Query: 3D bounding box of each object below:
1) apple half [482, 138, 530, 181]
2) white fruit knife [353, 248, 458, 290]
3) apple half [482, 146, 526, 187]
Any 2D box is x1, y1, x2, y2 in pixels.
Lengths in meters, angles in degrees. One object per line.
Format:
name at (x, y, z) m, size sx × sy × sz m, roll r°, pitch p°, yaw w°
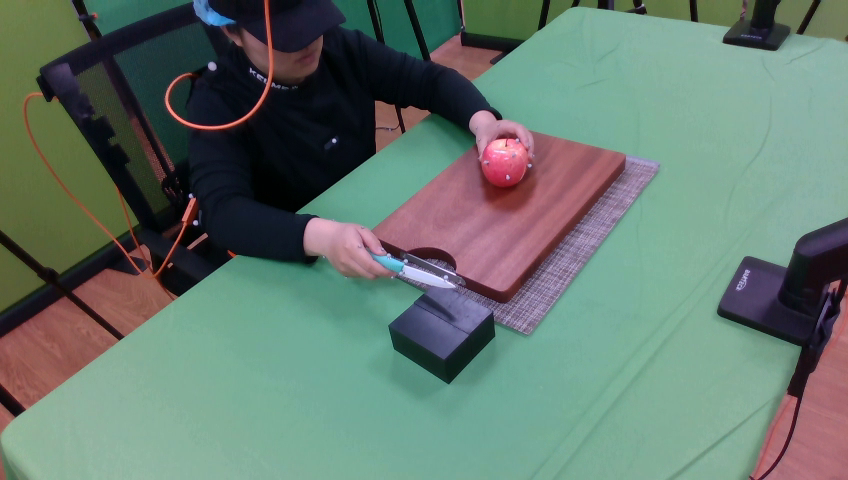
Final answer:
apple half at (0.146, -0.140, 1.041) m, size 0.080 × 0.075 × 0.053 m, roll 7°, pitch 38°, yaw 24°
white fruit knife at (-0.031, 0.041, 0.858) m, size 0.205 × 0.027 × 0.016 m, roll 15°, pitch 43°, yaw 39°
apple half at (0.130, -0.117, 1.014) m, size 0.081 × 0.081 × 0.033 m, roll 10°, pitch 40°, yaw 22°
